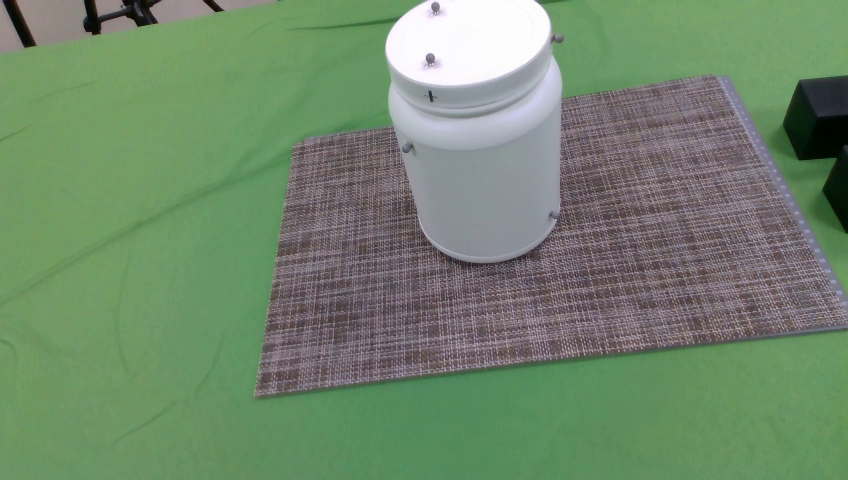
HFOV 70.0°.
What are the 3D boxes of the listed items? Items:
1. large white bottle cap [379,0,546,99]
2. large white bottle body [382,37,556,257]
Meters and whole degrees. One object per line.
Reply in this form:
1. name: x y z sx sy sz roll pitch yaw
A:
1. large white bottle cap: 0.026 -0.141 0.420 0.115 0.018 0.113 -5 51 7
2. large white bottle body: 0.040 -0.088 0.485 0.130 0.186 0.129 -6 52 7
